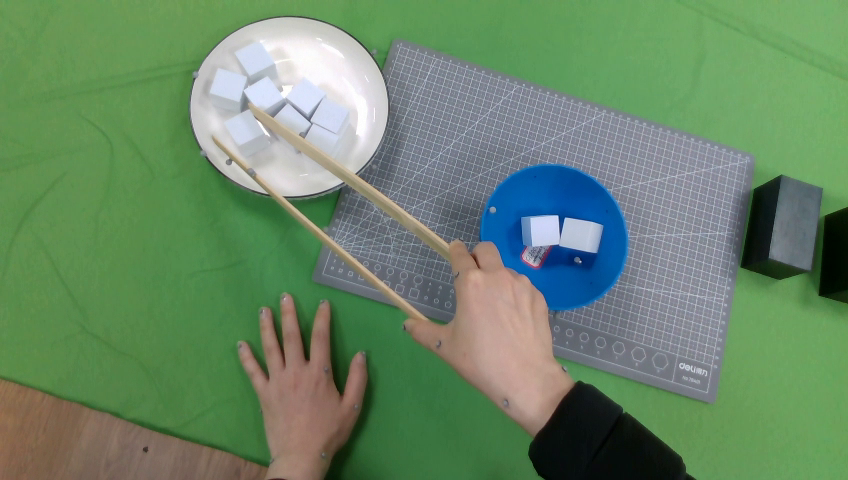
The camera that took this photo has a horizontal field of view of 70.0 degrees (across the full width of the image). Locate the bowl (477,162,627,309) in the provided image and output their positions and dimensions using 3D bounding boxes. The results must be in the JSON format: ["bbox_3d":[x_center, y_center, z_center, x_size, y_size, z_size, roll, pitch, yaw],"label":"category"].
[{"bbox_3d":[0.123,0.002,0.629,0.152,0.077,0.150,2,77,-7],"label":"bowl"}]

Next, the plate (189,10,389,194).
[{"bbox_3d":[-0.142,-0.146,0.653,0.208,0.039,0.206,1,77,-5],"label":"plate"}]

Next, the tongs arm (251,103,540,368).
[{"bbox_3d":[-0.041,-0.023,0.547,0.384,0.028,0.028,39,66,24],"label":"tongs arm"}]

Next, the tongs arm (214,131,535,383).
[{"bbox_3d":[-0.062,-0.003,0.538,0.051,0.027,0.381,-40,64,-17],"label":"tongs arm"}]
